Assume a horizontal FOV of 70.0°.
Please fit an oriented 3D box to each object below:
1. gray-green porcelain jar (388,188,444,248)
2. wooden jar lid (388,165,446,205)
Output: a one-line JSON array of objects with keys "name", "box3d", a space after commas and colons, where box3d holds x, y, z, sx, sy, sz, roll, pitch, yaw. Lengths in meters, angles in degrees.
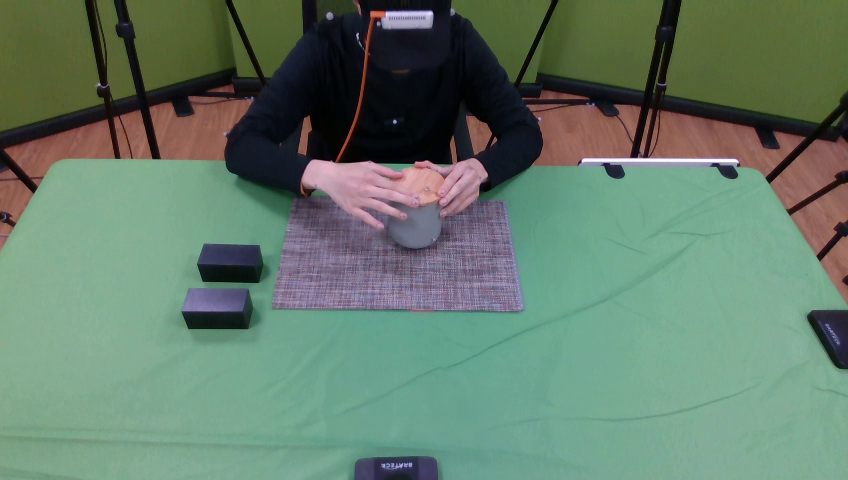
[{"name": "gray-green porcelain jar", "box3d": [-0.017, -0.057, 1.172, 0.106, 0.127, 0.105, 2, 46, -2]}, {"name": "wooden jar lid", "box3d": [-0.013, -0.098, 1.127, 0.108, 0.021, 0.107, 1, 44, -1]}]
